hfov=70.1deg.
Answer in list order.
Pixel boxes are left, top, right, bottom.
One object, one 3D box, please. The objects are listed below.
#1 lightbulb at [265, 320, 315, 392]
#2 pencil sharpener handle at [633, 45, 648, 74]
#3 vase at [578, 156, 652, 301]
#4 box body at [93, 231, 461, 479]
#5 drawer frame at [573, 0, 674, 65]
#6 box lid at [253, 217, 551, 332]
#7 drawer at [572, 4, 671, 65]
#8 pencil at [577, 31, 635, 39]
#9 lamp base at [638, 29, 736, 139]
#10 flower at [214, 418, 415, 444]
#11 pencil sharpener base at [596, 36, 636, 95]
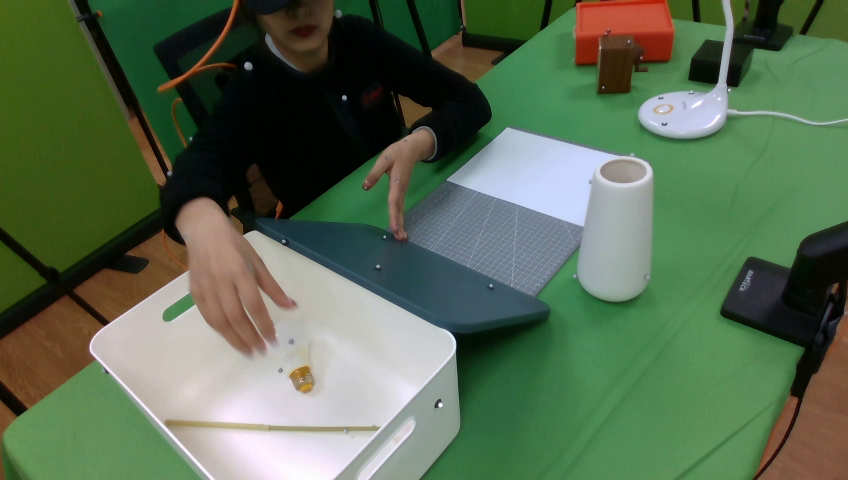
[{"bbox_3d":[-0.174,0.155,0.806,0.060,0.060,0.107,-23,57,-16],"label":"lightbulb"},{"bbox_3d":[0.454,-0.378,1.262,0.030,0.068,0.036,1,47,13],"label":"pencil sharpener handle"},{"bbox_3d":[0.261,-0.011,0.812,0.098,0.201,0.097,-4,40,4],"label":"vase"},{"bbox_3d":[-0.162,0.170,0.708,0.361,0.161,0.255,25,50,34],"label":"box body"},{"bbox_3d":[0.464,-0.492,1.434,0.213,0.083,0.201,1,40,12],"label":"drawer frame"},{"bbox_3d":[-0.031,0.036,0.833,0.368,0.015,0.265,24,12,33],"label":"box lid"},{"bbox_3d":[0.461,-0.490,1.434,0.211,0.073,0.194,2,40,12],"label":"drawer"},{"bbox_3d":[0.431,-0.489,1.443,0.012,0.012,0.192,-25,30,-18],"label":"pencil"},{"bbox_3d":[0.501,-0.302,1.125,0.179,0.181,0.160,-4,40,3],"label":"lamp base"},{"bbox_3d":[-0.153,0.229,0.744,0.360,0.038,0.044,-2,45,16],"label":"flower"},{"bbox_3d":[0.406,-0.369,1.280,0.076,0.107,0.061,1,41,13],"label":"pencil sharpener base"}]
